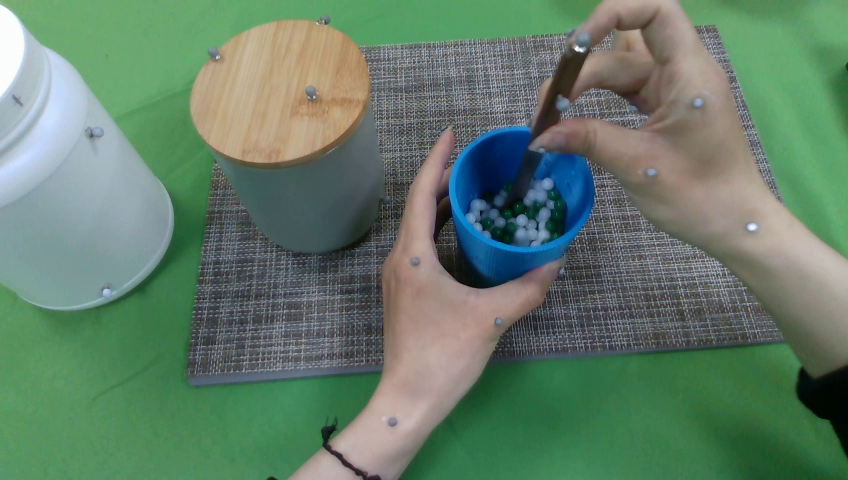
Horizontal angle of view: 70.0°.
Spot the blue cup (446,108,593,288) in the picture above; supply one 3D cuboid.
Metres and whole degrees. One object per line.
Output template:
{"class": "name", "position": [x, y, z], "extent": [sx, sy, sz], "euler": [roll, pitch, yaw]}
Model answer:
{"class": "blue cup", "position": [0.056, -0.014, 0.393], "extent": [0.092, 0.101, 0.092], "euler": [0, 65, 1]}

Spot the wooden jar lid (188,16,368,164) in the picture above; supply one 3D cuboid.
{"class": "wooden jar lid", "position": [-0.087, -0.090, 0.370], "extent": [0.108, 0.021, 0.107], "euler": [-2, 64, 4]}

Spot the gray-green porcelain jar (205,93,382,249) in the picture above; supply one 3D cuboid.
{"class": "gray-green porcelain jar", "position": [-0.085, -0.060, 0.425], "extent": [0.106, 0.127, 0.105], "euler": [-1, 63, 2]}

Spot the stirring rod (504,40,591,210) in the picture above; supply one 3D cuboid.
{"class": "stirring rod", "position": [0.064, -0.053, 0.339], "extent": [0.014, 0.177, 0.006], "euler": [-36, 75, -13]}

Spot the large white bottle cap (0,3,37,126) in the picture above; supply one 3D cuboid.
{"class": "large white bottle cap", "position": [-0.267, -0.086, 0.320], "extent": [0.115, 0.018, 0.114], "euler": [-1, 63, 2]}

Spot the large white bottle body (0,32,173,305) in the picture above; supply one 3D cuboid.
{"class": "large white bottle body", "position": [-0.263, -0.048, 0.395], "extent": [0.130, 0.186, 0.129], "euler": [-1, 63, 2]}
